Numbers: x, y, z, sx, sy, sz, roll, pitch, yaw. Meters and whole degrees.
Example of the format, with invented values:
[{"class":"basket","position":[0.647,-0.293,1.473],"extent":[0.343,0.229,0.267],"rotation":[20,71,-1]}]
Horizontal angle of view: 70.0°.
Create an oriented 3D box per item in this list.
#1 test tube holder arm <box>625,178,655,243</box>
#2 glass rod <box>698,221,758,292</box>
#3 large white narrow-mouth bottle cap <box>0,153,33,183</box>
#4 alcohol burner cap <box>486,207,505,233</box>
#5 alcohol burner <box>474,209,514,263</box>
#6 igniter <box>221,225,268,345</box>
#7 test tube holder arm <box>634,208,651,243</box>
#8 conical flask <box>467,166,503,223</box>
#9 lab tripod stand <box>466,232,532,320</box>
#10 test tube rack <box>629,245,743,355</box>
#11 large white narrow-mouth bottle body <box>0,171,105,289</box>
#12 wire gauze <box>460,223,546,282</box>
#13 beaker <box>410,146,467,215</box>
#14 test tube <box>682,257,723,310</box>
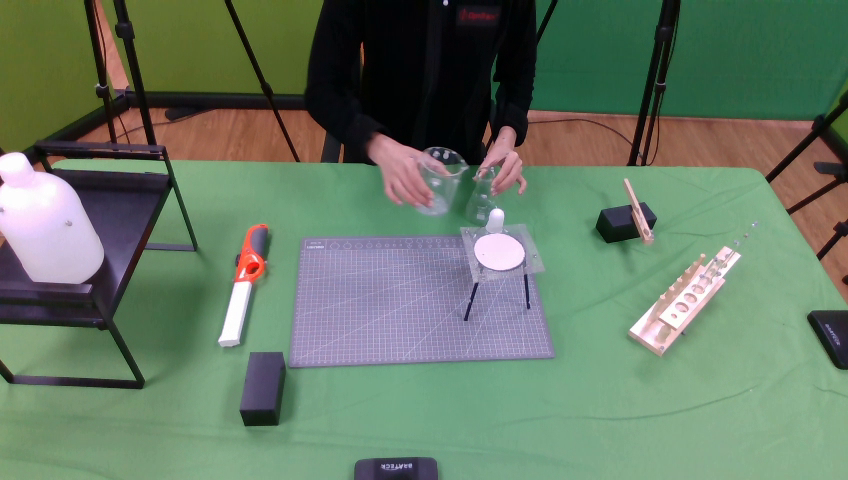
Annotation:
[{"class":"test tube holder arm","position":[0.433,-0.063,1.220],"extent":[0.013,0.015,0.177],"rotation":[1,47,-3]},{"class":"glass rod","position":[0.528,0.035,1.060],"extent":[0.008,0.200,0.008],"rotation":[5,49,-6]},{"class":"large white narrow-mouth bottle cap","position":[-0.510,-0.090,0.754],"extent":[0.038,0.024,0.037],"rotation":[2,46,-2]},{"class":"alcohol burner cap","position":[0.135,-0.039,1.125],"extent":[0.034,0.048,0.033],"rotation":[4,42,-4]},{"class":"alcohol burner","position":[0.134,-0.013,1.150],"extent":[0.078,0.120,0.077],"rotation":[1,47,0]},{"class":"igniter","position":[-0.323,0.072,1.100],"extent":[0.057,0.025,0.274],"rotation":[-6,45,5]},{"class":"test tube holder arm","position":[0.428,-0.030,1.189],"extent":[0.010,0.015,0.087],"rotation":[1,47,-2]},{"class":"conical flask","position":[0.123,-0.095,1.218],"extent":[0.075,0.122,0.075],"rotation":[-2,55,3]},{"class":"lab tripod stand","position":[0.125,0.059,1.065],"extent":[0.148,0.132,0.147],"rotation":[1,45,0]},{"class":"test tube rack","position":[0.474,0.095,1.091],"extent":[0.242,0.085,0.066],"rotation":[-34,56,-31]},{"class":"large white narrow-mouth bottle body","position":[-0.513,-0.029,0.818],"extent":[0.102,0.195,0.101],"rotation":[2,46,-2]},{"class":"wire gauze","position":[0.131,0.016,1.015],"extent":[0.121,0.011,0.124],"rotation":[-5,45,-8]},{"class":"beaker","position":[0.021,-0.098,1.025],"extent":[0.084,0.100,0.073],"rotation":[5,46,-13]},{"class":"test tube","position":[0.475,0.080,1.038],"extent":[0.017,0.151,0.017],"rotation":[1,51,-1]}]
